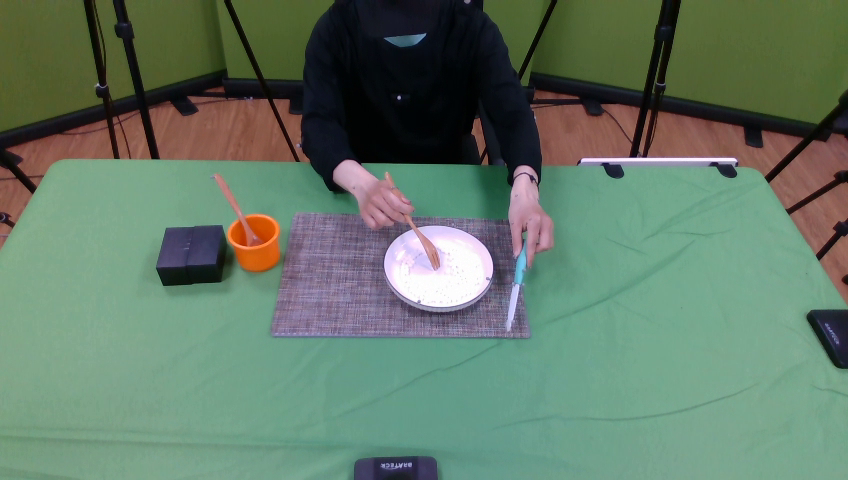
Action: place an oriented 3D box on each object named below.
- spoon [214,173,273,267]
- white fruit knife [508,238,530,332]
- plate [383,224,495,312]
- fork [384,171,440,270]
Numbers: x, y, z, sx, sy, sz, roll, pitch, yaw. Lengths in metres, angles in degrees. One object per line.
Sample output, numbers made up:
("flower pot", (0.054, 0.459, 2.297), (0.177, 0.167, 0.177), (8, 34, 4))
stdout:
("spoon", (-0.336, -0.037, 1.121), (0.041, 0.194, 0.021), (-29, 10, -25))
("white fruit knife", (0.170, 0.076, 1.089), (0.016, 0.027, 0.206), (27, 54, -14))
("plate", (0.026, 0.055, 1.128), (0.209, 0.038, 0.208), (2, 46, -2))
("fork", (-0.022, -0.036, 1.128), (0.028, 0.018, 0.207), (-35, 96, -44))
